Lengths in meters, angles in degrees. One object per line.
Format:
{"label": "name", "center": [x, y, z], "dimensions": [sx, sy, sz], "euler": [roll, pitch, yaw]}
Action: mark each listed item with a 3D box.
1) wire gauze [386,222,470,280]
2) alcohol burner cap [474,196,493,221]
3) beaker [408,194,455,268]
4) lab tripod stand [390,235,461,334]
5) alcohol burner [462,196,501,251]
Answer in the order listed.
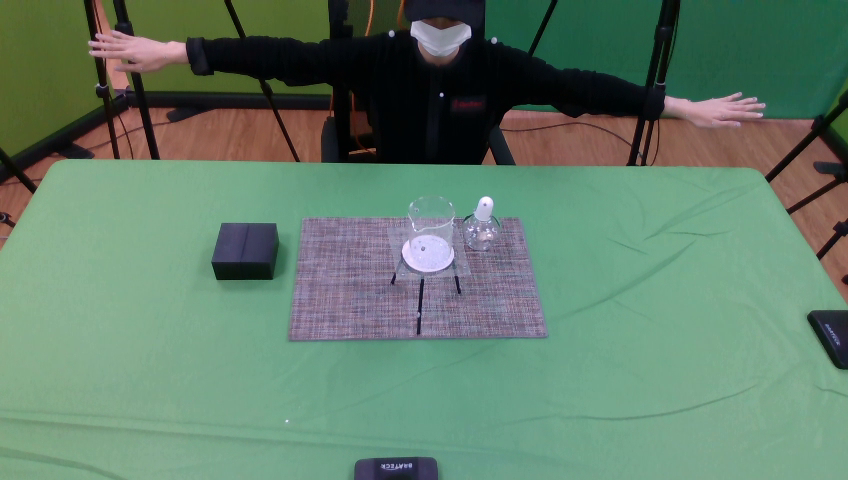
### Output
{"label": "wire gauze", "center": [0.005, 0.018, 1.006], "dimensions": [0.125, 0.011, 0.120], "euler": [-7, 45, -5]}
{"label": "alcohol burner cap", "center": [0.116, -0.062, 1.147], "dimensions": [0.034, 0.048, 0.033], "euler": [6, 47, -6]}
{"label": "beaker", "center": [0.009, -0.010, 0.965], "dimensions": [0.074, 0.101, 0.084], "euler": [23, 50, 20]}
{"label": "lab tripod stand", "center": [-0.001, 0.067, 1.050], "dimensions": [0.148, 0.132, 0.147], "euler": [1, 47, -1]}
{"label": "alcohol burner", "center": [0.112, -0.037, 1.173], "dimensions": [0.078, 0.120, 0.077], "euler": [1, 45, -1]}
